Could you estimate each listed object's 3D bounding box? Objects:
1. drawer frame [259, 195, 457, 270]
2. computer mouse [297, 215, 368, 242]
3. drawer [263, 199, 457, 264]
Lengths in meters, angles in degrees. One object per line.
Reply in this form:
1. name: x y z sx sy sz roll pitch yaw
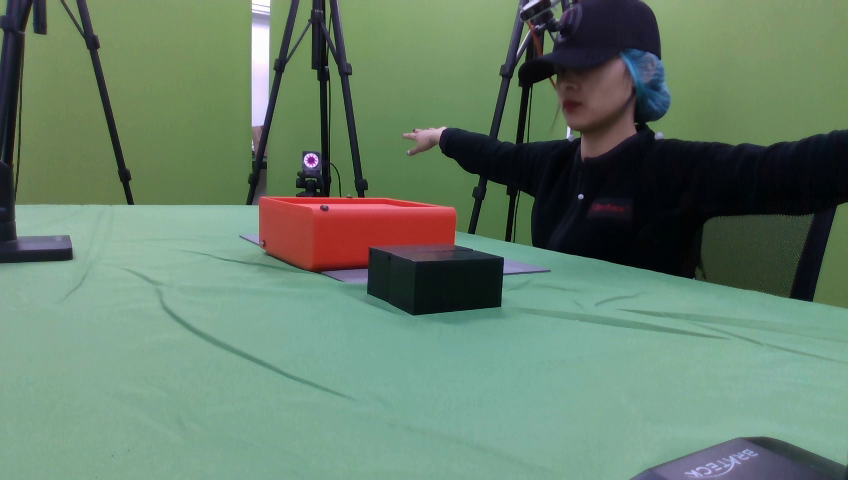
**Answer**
1. drawer frame: -0.095 -0.018 0.845 0.215 0.082 0.200 -3 10 -34
2. computer mouse: -0.156 -0.021 1.032 0.118 0.041 0.062 -9 15 -39
3. drawer: -0.093 -0.017 0.846 0.213 0.073 0.193 -3 10 -33
